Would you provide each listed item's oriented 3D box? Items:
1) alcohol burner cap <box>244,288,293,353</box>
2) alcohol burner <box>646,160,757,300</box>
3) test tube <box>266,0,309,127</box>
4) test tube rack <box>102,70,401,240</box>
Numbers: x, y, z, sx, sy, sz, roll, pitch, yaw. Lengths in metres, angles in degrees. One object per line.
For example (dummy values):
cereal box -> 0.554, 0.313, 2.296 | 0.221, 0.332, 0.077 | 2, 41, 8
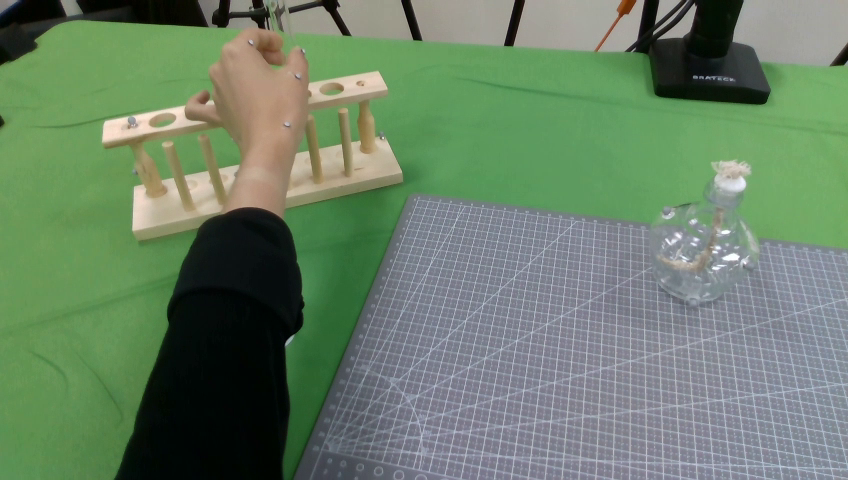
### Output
alcohol burner cap -> -0.116, 0.056, 0.444 | 0.034, 0.048, 0.033 | -1, 45, 1
alcohol burner -> 0.207, -0.011, 0.444 | 0.078, 0.120, 0.077 | 0, 46, 1
test tube -> -0.117, -0.161, 0.513 | 0.017, 0.151, 0.017 | -1, 45, 2
test tube rack -> -0.148, -0.079, 0.550 | 0.243, 0.086, 0.066 | -14, 46, -12
